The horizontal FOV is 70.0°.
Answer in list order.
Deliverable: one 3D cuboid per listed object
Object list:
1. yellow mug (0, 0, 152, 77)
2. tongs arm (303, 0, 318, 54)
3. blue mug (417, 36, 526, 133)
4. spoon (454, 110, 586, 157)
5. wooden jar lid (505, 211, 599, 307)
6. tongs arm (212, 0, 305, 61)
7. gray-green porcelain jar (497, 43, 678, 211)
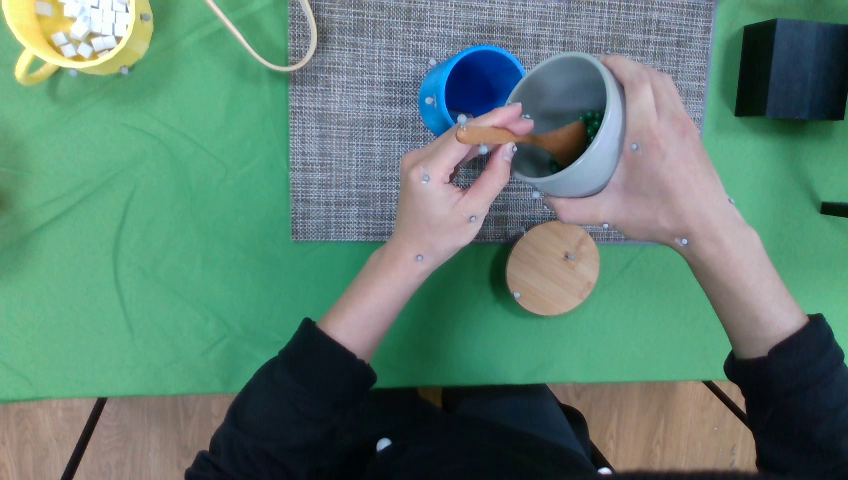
[{"bbox_3d":[-0.301,-0.189,0.512,0.100,0.063,0.131,40,92,-17],"label":"yellow mug"},{"bbox_3d":[-0.166,-0.351,0.504,0.028,0.027,0.390,-27,112,-14],"label":"tongs arm"},{"bbox_3d":[0.057,-0.135,0.574,0.117,0.105,0.082,27,95,-15],"label":"blue mug"},{"bbox_3d":[0.080,-0.084,0.468,0.195,0.021,0.042,-8,124,-48],"label":"spoon"},{"bbox_3d":[0.140,0.020,0.669,0.108,0.020,0.109,-3,105,-10],"label":"wooden jar lid"},{"bbox_3d":[-0.237,-0.306,0.496,0.051,0.026,0.388,-38,113,-5],"label":"tongs arm"},{"bbox_3d":[0.140,-0.085,0.501,0.127,0.105,0.106,18,98,-41],"label":"gray-green porcelain jar"}]
